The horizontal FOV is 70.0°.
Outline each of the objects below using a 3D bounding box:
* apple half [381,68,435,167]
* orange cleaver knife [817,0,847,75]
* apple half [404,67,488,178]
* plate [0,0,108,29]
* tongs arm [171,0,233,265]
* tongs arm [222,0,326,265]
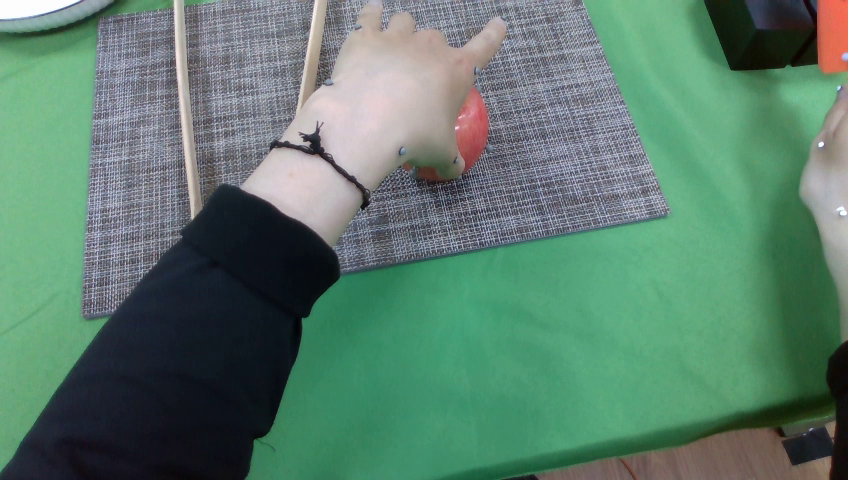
[{"bbox_3d":[-0.015,-0.094,0.469,0.033,0.082,0.081,18,65,6],"label":"apple half"},{"bbox_3d":[0.328,-0.161,0.468,0.012,0.077,0.212,-6,98,1],"label":"orange cleaver knife"},{"bbox_3d":[0.022,-0.084,0.466,0.053,0.075,0.080,18,62,5],"label":"apple half"},{"bbox_3d":[-0.364,-0.277,0.581,0.209,0.038,0.207,0,64,0],"label":"plate"},{"bbox_3d":[-0.202,-0.152,0.524,0.028,0.028,0.384,-11,65,-9],"label":"tongs arm"},{"bbox_3d":[-0.117,-0.159,0.525,0.051,0.027,0.381,1,65,0],"label":"tongs arm"}]
